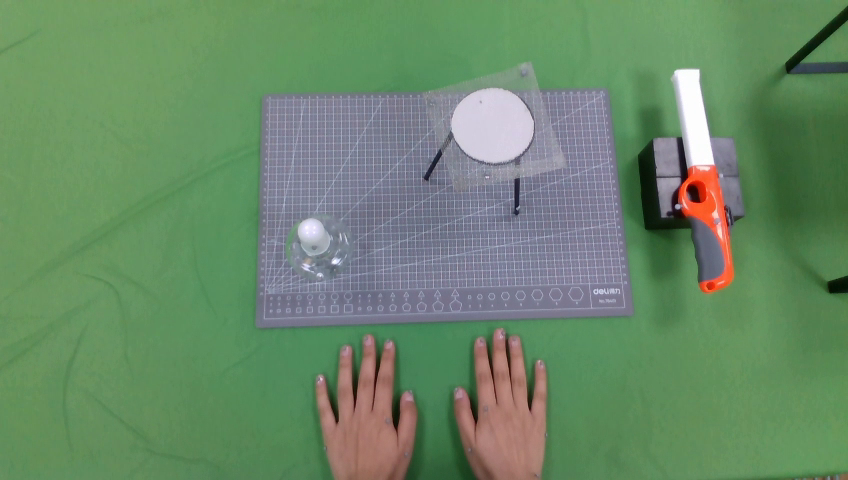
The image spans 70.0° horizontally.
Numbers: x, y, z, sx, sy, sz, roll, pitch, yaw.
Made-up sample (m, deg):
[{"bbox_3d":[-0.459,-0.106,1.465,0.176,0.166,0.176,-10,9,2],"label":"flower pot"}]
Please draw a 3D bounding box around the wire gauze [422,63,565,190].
[{"bbox_3d":[0.072,-0.119,0.635,0.125,0.011,0.121,-15,77,-5],"label":"wire gauze"}]

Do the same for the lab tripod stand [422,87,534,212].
[{"bbox_3d":[0.071,-0.110,0.702,0.148,0.132,0.147,0,74,0],"label":"lab tripod stand"}]

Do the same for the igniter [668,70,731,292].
[{"bbox_3d":[0.322,-0.075,0.712,0.057,0.025,0.275,-1,74,0],"label":"igniter"}]

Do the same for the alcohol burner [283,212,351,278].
[{"bbox_3d":[-0.121,0.002,0.678,0.078,0.119,0.077,1,78,-3],"label":"alcohol burner"}]

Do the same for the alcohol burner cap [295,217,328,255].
[{"bbox_3d":[-0.121,-0.007,0.643,0.034,0.048,0.033,0,71,-1],"label":"alcohol burner cap"}]
